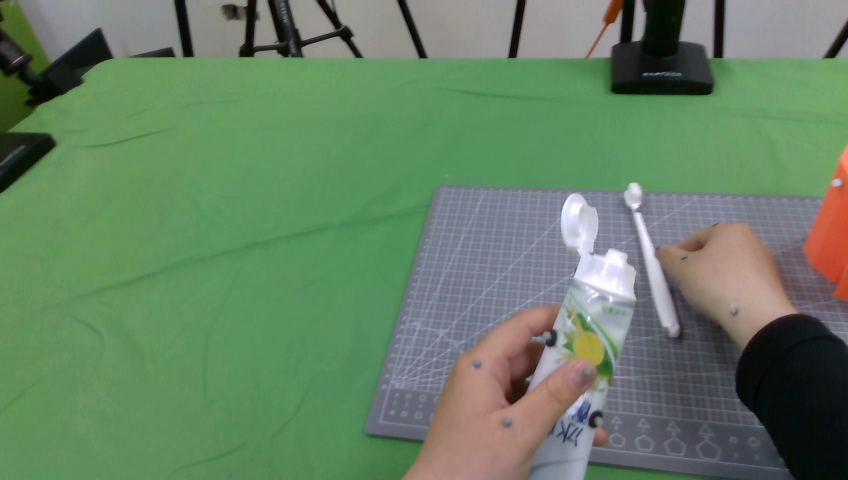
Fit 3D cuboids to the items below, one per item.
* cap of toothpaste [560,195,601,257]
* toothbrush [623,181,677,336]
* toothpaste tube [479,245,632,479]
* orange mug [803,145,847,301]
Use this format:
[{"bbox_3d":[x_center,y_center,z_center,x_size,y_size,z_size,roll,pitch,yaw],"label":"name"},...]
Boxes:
[{"bbox_3d":[0.090,-0.008,0.346,0.011,0.037,0.037,-2,36,44],"label":"cap of toothpaste"},{"bbox_3d":[0.199,0.009,0.534,0.014,0.017,0.180,15,44,-9],"label":"toothbrush"},{"bbox_3d":[0.077,0.081,0.338,0.055,0.165,0.035,19,4,22],"label":"toothpaste tube"},{"bbox_3d":[0.353,-0.011,0.471,0.083,0.102,0.126,25,47,32],"label":"orange mug"}]
